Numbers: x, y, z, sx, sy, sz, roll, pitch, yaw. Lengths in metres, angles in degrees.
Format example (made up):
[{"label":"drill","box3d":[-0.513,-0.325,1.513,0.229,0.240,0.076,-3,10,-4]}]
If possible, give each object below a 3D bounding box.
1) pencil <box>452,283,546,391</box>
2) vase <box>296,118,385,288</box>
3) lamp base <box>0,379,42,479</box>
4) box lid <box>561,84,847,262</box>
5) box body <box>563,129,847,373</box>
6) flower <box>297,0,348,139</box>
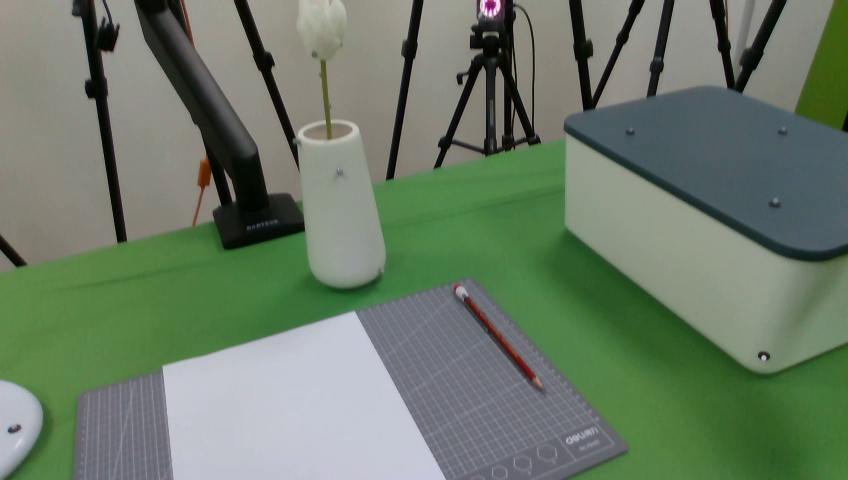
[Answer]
[{"label":"pencil","box3d":[0.078,0.101,0.660,0.012,0.012,0.192,-16,35,-19]},{"label":"vase","box3d":[-0.104,-0.041,0.731,0.098,0.201,0.097,-4,31,3]},{"label":"lamp base","box3d":[-0.453,0.121,0.518,0.178,0.182,0.160,16,37,32]},{"label":"box lid","box3d":[0.355,-0.097,0.670,0.264,0.015,0.367,-15,34,-18]},{"label":"box body","box3d":[0.359,-0.034,0.713,0.255,0.162,0.360,-16,34,-18]},{"label":"flower","box3d":[-0.105,-0.099,0.668,0.044,0.364,0.038,19,50,9]}]
